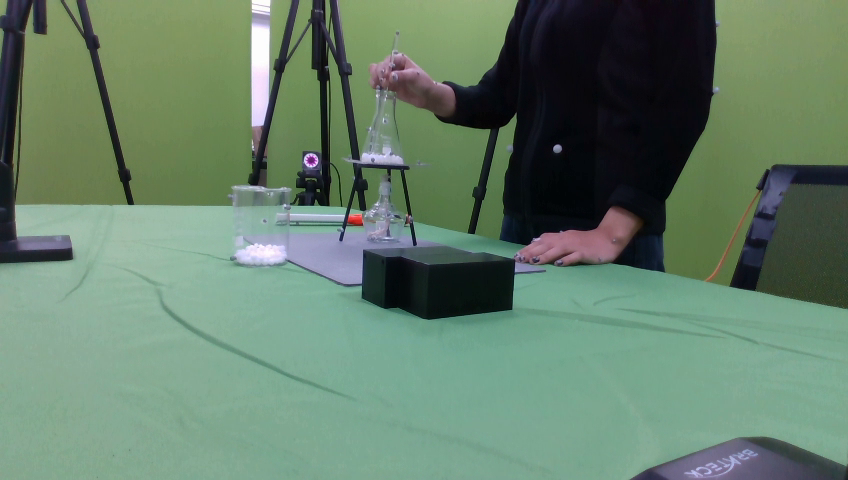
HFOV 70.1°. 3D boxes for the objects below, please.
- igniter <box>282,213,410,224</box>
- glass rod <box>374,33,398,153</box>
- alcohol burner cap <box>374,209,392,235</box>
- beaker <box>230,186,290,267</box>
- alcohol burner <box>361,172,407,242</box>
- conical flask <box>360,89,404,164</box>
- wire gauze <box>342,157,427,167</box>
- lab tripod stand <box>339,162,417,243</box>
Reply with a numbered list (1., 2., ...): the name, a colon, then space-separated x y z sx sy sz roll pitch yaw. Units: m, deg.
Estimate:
1. igniter: -0.159 -0.046 1.287 0.278 0.025 0.057 -1 -2 -21
2. glass rod: -0.062 -0.244 1.005 0.008 0.199 0.008 11 4 0
3. alcohol burner cap: -0.078 -0.036 1.148 0.034 0.048 0.034 3 8 0
4. beaker: -0.209 -0.019 0.778 0.074 0.100 0.084 3 6 4
5. alcohol burner: -0.067 -0.056 1.030 0.078 0.119 0.078 4 9 0
6. conical flask: -0.067 -0.189 1.011 0.075 0.122 0.075 4 6 0
7. wire gauze: -0.065 -0.130 1.016 0.122 0.011 0.124 2 5 -27
8. lab tripod stand: -0.067 -0.065 1.027 0.148 0.131 0.148 4 7 0
